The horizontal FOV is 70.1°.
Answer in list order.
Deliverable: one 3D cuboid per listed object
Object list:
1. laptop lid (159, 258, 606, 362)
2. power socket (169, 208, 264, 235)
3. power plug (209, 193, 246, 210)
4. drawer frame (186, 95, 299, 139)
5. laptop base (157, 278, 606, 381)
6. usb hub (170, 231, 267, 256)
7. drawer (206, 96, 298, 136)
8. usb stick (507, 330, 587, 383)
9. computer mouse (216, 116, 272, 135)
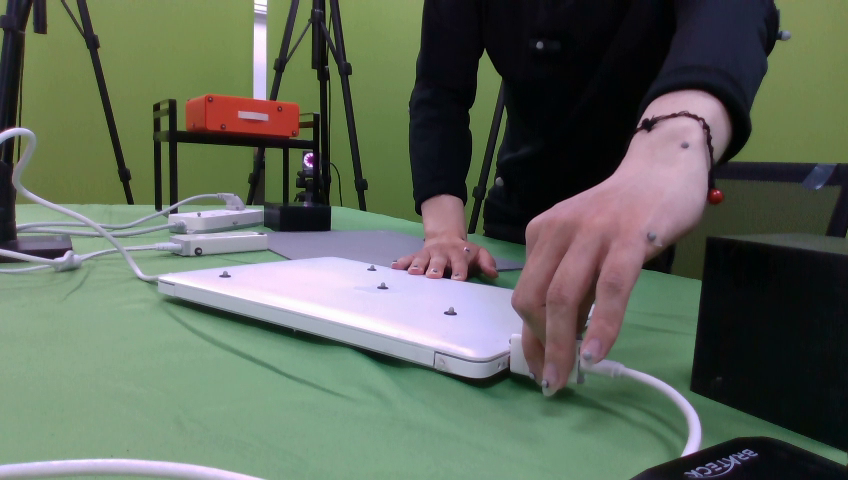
[{"bbox_3d":[-0.040,0.047,0.554,0.355,0.013,0.243,8,7,36],"label":"laptop lid"},{"bbox_3d":[-0.381,-0.038,1.128,0.072,0.032,0.227,4,8,16],"label":"power socket"},{"bbox_3d":[-0.388,-0.067,1.205,0.072,0.052,0.035,4,8,26],"label":"power plug"},{"bbox_3d":[-0.417,-0.277,1.378,0.203,0.082,0.212,-3,8,-32],"label":"drawer frame"},{"bbox_3d":[-0.042,0.059,0.554,0.352,0.023,0.237,8,6,35],"label":"laptop base"},{"bbox_3d":[-0.290,0.005,0.862,0.049,0.025,0.126,10,11,42],"label":"usb hub"},{"bbox_3d":[-0.414,-0.276,1.376,0.195,0.073,0.210,-3,9,-31],"label":"drawer"},{"bbox_3d":[0.071,0.072,0.382,0.059,0.027,0.021,0,0,36],"label":"usb stick"},{"bbox_3d":[-0.402,-0.257,1.353,0.118,0.041,0.062,-6,15,-35],"label":"computer mouse"}]
